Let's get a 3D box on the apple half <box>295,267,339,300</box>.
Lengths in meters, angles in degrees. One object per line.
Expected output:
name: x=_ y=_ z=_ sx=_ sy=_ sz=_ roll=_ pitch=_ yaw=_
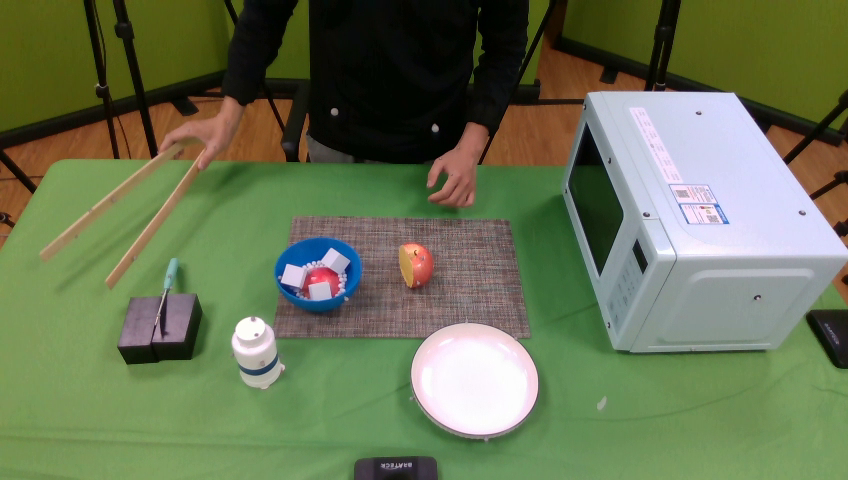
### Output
apple half: x=-0.188 y=0.071 z=1.067 sx=0.081 sy=0.033 sz=0.081 roll=4 pitch=48 yaw=-4

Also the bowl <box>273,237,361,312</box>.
bowl: x=-0.186 y=0.075 z=1.070 sx=0.151 sy=0.077 sz=0.150 roll=3 pitch=45 yaw=-3

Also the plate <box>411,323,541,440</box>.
plate: x=0.082 y=0.228 z=0.976 sx=0.208 sy=0.039 sz=0.206 roll=2 pitch=45 yaw=-2

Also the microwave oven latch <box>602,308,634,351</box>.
microwave oven latch: x=0.332 y=0.153 z=1.044 sx=0.030 sy=0.029 sz=0.078 roll=-1 pitch=45 yaw=-4

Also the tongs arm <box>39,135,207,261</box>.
tongs arm: x=-0.562 y=-0.089 z=1.165 sx=0.050 sy=0.026 sz=0.383 roll=23 pitch=52 yaw=14

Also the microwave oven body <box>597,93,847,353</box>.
microwave oven body: x=0.475 y=-0.041 z=1.110 sx=0.326 sy=0.261 sz=0.438 roll=-1 pitch=45 yaw=-4

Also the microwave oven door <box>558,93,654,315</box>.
microwave oven door: x=0.327 y=-0.074 z=1.123 sx=0.039 sy=0.245 sz=0.353 roll=0 pitch=46 yaw=-5

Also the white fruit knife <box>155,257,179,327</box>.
white fruit knife: x=-0.440 y=0.085 z=1.037 sx=0.016 sy=0.027 sz=0.206 roll=11 pitch=26 yaw=-19

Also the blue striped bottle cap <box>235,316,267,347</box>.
blue striped bottle cap: x=-0.259 y=0.137 z=0.907 sx=0.044 sy=0.021 sz=0.044 roll=2 pitch=43 yaw=-2

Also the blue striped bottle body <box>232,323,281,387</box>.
blue striped bottle body: x=-0.262 y=0.171 z=0.944 sx=0.063 sy=0.121 sz=0.062 roll=2 pitch=46 yaw=-2

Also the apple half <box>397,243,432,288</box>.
apple half: x=-0.013 y=0.047 z=1.115 sx=0.053 sy=0.075 sz=0.080 roll=-10 pitch=43 yaw=-21

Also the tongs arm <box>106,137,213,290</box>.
tongs arm: x=-0.492 y=-0.063 z=1.152 sx=0.028 sy=0.028 sz=0.385 roll=11 pitch=50 yaw=9
